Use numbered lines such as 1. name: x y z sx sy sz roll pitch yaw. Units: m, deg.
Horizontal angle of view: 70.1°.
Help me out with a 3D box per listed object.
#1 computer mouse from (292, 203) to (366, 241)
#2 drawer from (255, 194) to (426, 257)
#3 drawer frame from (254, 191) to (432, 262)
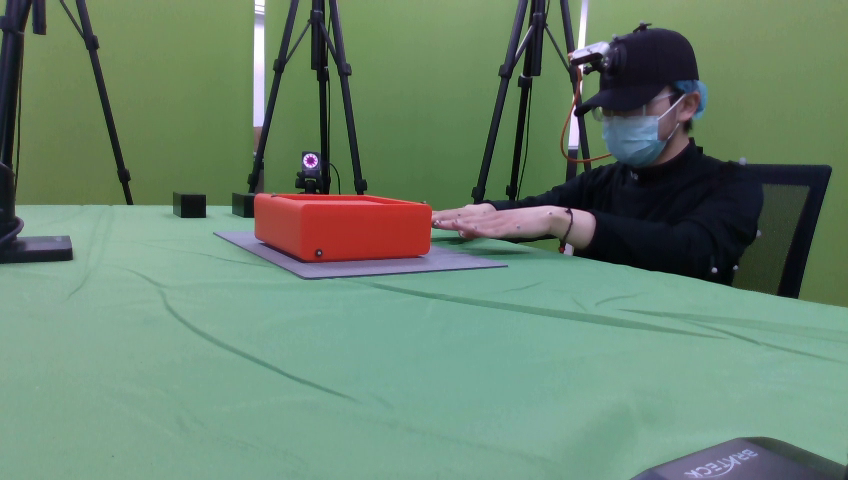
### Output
1. computer mouse: -0.151 -0.029 0.956 0.117 0.041 0.062 -11 23 -3
2. drawer: -0.130 -0.026 0.912 0.195 0.073 0.210 -1 9 -31
3. drawer frame: -0.128 -0.027 0.911 0.203 0.082 0.212 -1 9 -32
